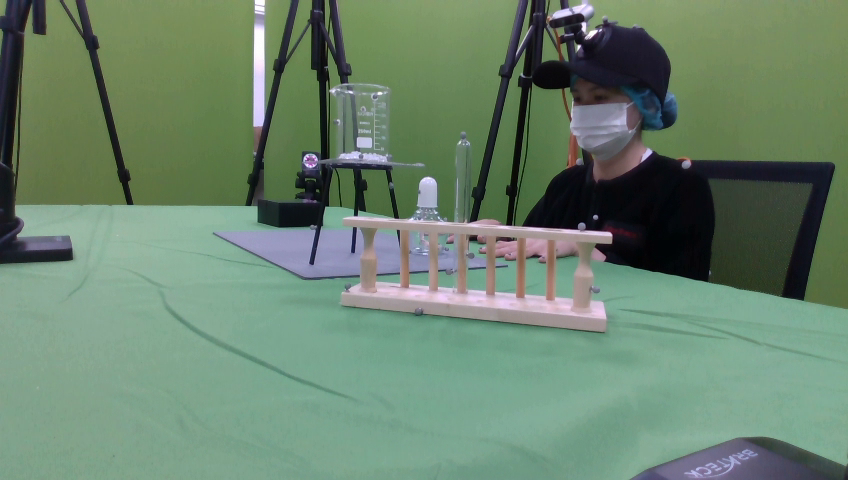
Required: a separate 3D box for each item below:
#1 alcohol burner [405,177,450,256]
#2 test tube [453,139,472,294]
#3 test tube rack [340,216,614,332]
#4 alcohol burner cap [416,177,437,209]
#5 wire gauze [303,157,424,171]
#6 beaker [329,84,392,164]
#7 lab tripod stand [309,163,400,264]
[{"bbox_3d":[0.004,-0.036,0.917,0.078,0.119,0.078,3,5,0],"label":"alcohol burner"},{"bbox_3d":[0.037,-0.021,0.584,0.017,0.150,0.017,1,7,0],"label":"test tube"},{"bbox_3d":[0.048,0.026,0.568,0.242,0.085,0.067,4,8,13],"label":"test tube rack"},{"bbox_3d":[0.005,-0.072,0.914,0.034,0.048,0.034,3,9,0],"label":"alcohol burner cap"},{"bbox_3d":[-0.082,-0.101,0.799,0.126,0.011,0.121,1,7,-30],"label":"wire gauze"},{"bbox_3d":[-0.084,-0.149,0.794,0.084,0.100,0.073,-1,6,-23],"label":"beaker"},{"bbox_3d":[-0.091,-0.037,0.813,0.148,0.131,0.148,1,6,0],"label":"lab tripod stand"}]
